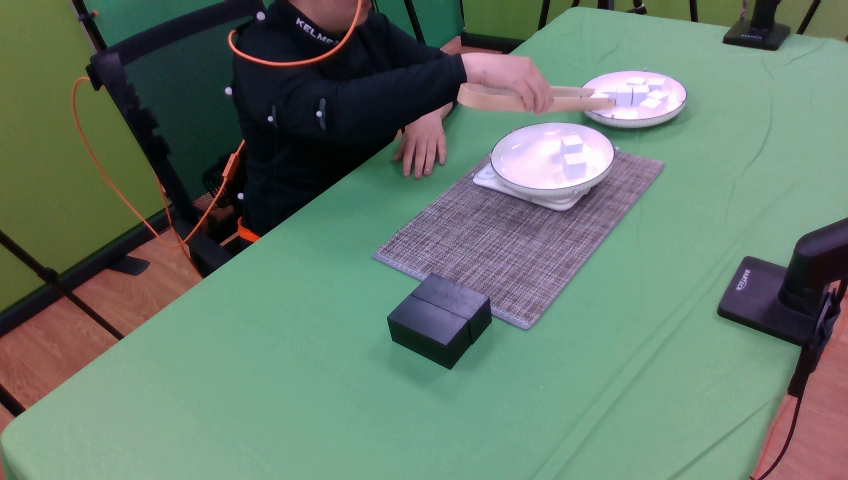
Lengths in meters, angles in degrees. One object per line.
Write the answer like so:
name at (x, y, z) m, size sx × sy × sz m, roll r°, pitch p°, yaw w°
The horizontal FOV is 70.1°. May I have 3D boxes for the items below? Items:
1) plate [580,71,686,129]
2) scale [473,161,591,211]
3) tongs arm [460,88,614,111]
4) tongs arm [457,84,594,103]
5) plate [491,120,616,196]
plate at (0.416, -0.280, 1.222) m, size 0.209 × 0.038 × 0.208 m, roll -5°, pitch 41°, yaw 5°
scale at (0.202, -0.121, 1.074) m, size 0.199 × 0.032 × 0.149 m, roll 23°, pitch 49°, yaw 33°
tongs arm at (0.216, -0.249, 1.079) m, size 0.388 × 0.026 × 0.050 m, roll -12°, pitch 38°, yaw -42°
tongs arm at (0.196, -0.265, 1.099) m, size 0.390 × 0.028 × 0.028 m, roll -11°, pitch 41°, yaw -40°
plate at (0.221, -0.137, 1.038) m, size 0.207 × 0.039 × 0.206 m, roll -6°, pitch 41°, yaw 5°
